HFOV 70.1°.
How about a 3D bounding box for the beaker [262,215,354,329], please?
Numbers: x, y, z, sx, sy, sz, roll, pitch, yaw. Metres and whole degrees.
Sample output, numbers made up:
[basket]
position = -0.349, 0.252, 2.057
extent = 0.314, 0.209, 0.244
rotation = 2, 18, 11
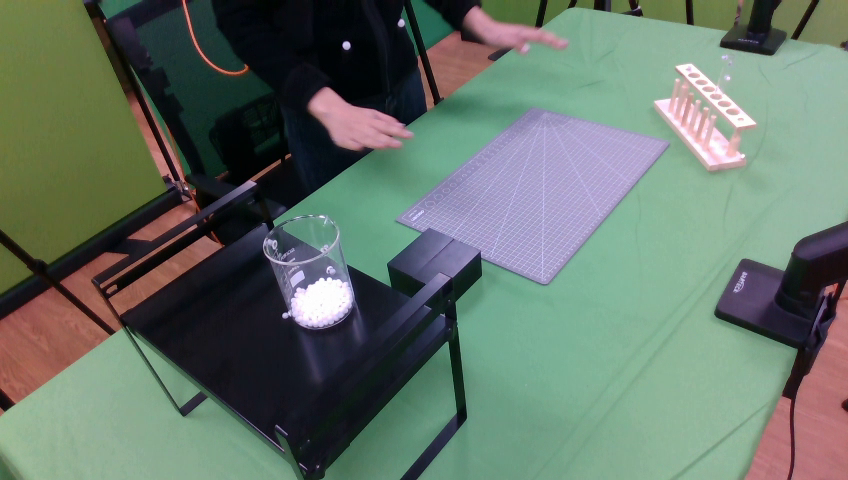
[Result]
[beaker]
position = -0.112, 0.034, 0.616
extent = 0.073, 0.101, 0.084
rotation = 13, 44, 23

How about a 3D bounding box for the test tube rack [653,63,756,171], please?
[test tube rack]
position = 0.510, -0.233, 1.120
extent = 0.067, 0.085, 0.241
rotation = -9, 41, -1

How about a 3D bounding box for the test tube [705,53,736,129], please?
[test tube]
position = 0.525, -0.260, 1.074
extent = 0.017, 0.151, 0.017
rotation = -2, 44, 3
